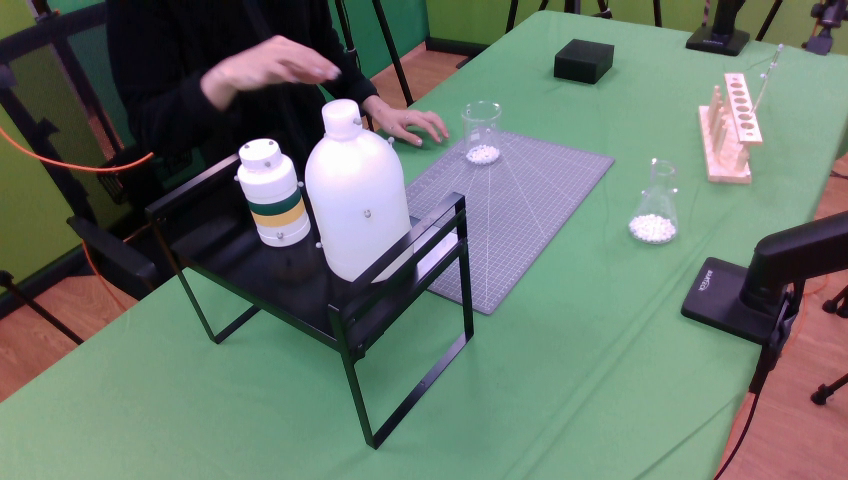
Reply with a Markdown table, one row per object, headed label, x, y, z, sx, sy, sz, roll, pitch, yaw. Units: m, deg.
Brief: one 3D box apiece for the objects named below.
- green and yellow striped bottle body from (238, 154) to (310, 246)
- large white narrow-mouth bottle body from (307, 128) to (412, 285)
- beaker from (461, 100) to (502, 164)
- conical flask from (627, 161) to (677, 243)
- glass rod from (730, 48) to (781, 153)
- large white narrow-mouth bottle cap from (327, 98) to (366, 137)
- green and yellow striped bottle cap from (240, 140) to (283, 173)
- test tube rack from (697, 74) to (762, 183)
| label | x | y | z | sx | sy | sz | roll | pitch | yaw |
| --- | --- | --- | --- | --- | --- | --- | --- | --- | --- |
| green and yellow striped bottle body | -0.178 | -0.056 | 0.714 | 0.063 | 0.120 | 0.063 | -4 | 40 | 4 |
| large white narrow-mouth bottle body | -0.070 | -0.051 | 0.638 | 0.102 | 0.195 | 0.101 | -3 | 40 | 3 |
| beaker | 0.111 | -0.201 | 1.132 | 0.084 | 0.100 | 0.073 | -27 | 45 | -22 |
| conical flask | 0.355 | -0.061 | 0.921 | 0.075 | 0.122 | 0.075 | -4 | 41 | 4 |
| glass rod | 0.554 | -0.228 | 1.015 | 0.008 | 0.200 | 0.008 | 1 | 44 | -1 |
| large white narrow-mouth bottle cap | -0.075 | -0.118 | 0.582 | 0.038 | 0.024 | 0.037 | -3 | 40 | 3 |
| green and yellow striped bottle cap | -0.183 | -0.094 | 0.680 | 0.045 | 0.020 | 0.045 | -4 | 38 | 4 |
| test tube rack | 0.547 | -0.208 | 1.095 | 0.066 | 0.085 | 0.242 | 5 | 42 | 15 |
